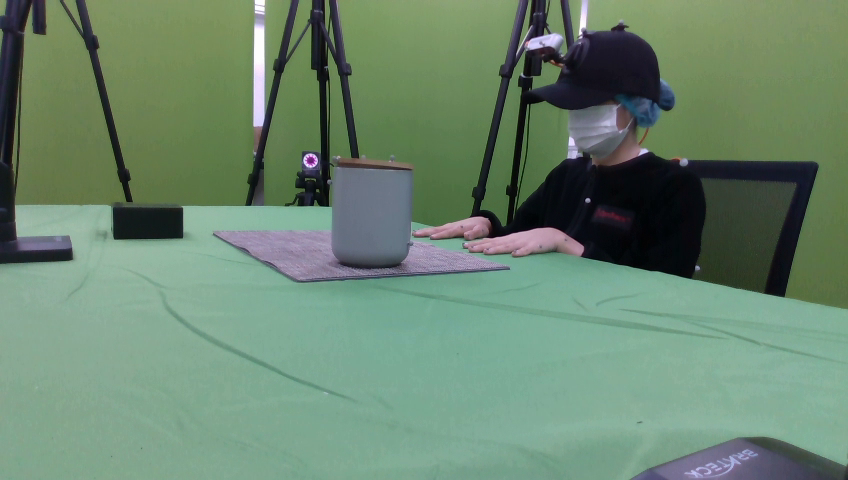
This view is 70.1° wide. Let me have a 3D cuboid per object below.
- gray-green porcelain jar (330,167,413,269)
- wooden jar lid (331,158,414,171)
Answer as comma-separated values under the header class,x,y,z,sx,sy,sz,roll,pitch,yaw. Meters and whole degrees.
class,x,y,z,sx,sy,sz,roll,pitch,yaw
gray-green porcelain jar,-0.069,-0.030,0.791,0.106,0.126,0.106,3,7,0
wooden jar lid,-0.067,-0.092,0.783,0.108,0.020,0.108,5,6,0
